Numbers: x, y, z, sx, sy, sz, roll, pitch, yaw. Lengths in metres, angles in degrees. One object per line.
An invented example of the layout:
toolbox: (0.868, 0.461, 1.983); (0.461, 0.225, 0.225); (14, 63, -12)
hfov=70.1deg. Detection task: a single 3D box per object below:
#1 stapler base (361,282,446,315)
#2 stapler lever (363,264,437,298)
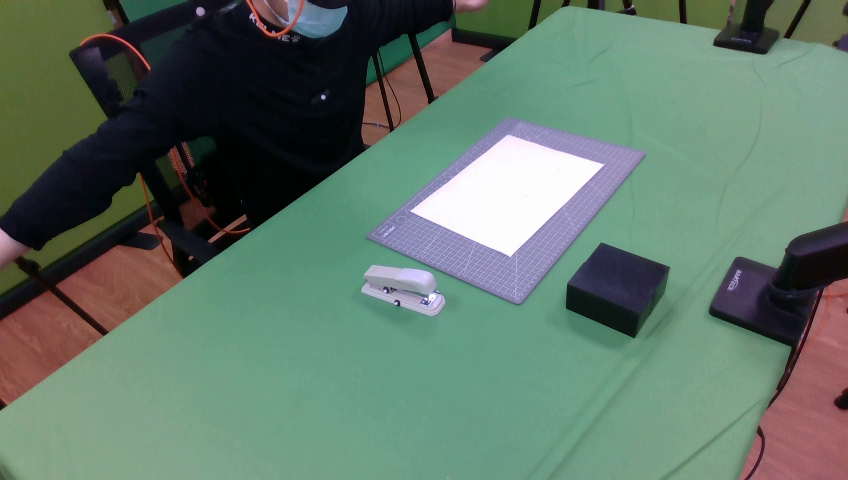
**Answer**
stapler base: (-0.031, 0.073, 0.889); (0.130, 0.024, 0.041); (14, 42, 26)
stapler lever: (-0.036, 0.054, 0.873); (0.117, 0.040, 0.027); (14, 42, 26)
